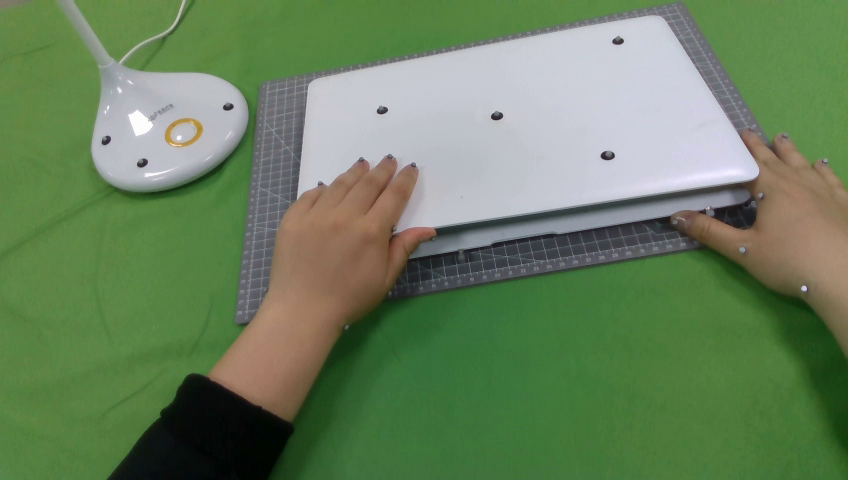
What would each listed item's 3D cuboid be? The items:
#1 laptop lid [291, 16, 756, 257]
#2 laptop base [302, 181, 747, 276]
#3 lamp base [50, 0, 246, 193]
[{"bbox_3d":[0.062,-0.102,0.522,0.356,0.013,0.239,-9,49,5],"label":"laptop lid"},{"bbox_3d":[0.066,-0.090,0.541,0.354,0.023,0.233,-10,56,4],"label":"laptop base"},{"bbox_3d":[-0.281,-0.159,0.559,0.178,0.182,0.160,23,61,28],"label":"lamp base"}]
